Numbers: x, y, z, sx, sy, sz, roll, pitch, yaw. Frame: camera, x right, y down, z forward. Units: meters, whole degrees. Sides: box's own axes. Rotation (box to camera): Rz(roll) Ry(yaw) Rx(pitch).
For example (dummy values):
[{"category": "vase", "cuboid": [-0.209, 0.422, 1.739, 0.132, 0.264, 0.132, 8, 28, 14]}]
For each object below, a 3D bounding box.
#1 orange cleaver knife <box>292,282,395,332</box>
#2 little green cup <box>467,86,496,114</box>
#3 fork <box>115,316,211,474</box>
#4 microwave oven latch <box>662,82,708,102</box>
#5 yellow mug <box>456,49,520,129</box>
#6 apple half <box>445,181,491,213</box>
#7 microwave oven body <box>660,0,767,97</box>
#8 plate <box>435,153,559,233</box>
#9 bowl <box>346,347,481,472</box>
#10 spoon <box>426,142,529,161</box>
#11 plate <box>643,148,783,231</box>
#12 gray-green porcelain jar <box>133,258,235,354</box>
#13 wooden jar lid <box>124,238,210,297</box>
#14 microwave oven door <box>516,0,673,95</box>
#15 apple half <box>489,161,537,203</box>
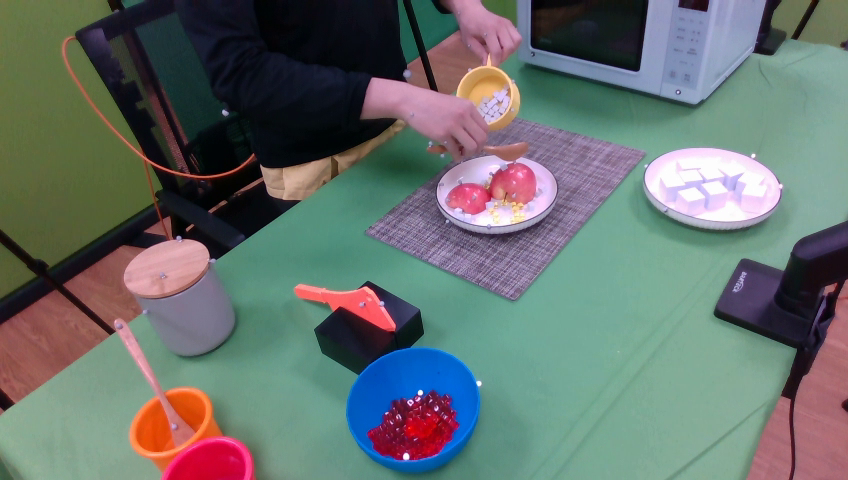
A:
[{"category": "orange cleaver knife", "cuboid": [-0.116, 0.091, 0.835, 0.209, 0.077, 0.012, 2, 32, 48]}, {"category": "little green cup", "cuboid": [0.123, -0.297, 1.285, 0.061, 0.039, 0.061, -6, 41, 6]}, {"category": "fork", "cuboid": [-0.308, 0.179, 0.708, 0.028, 0.018, 0.207, -30, 89, -23]}, {"category": "microwave oven latch", "cuboid": [0.518, -0.298, 1.202, 0.078, 0.029, 0.030, 28, 53, 35]}, {"category": "yellow mug", "cuboid": [0.113, -0.263, 1.044, 0.099, 0.131, 0.064, 7, 4, 17]}, {"category": "apple half", "cuboid": [0.076, -0.083, 1.029, 0.081, 0.033, 0.081, -1, 42, 2]}, {"category": "microwave oven body", "cuboid": [0.474, -0.517, 1.313, 0.438, 0.261, 0.327, 26, 51, 34]}, {"category": "plate", "cuboid": [0.124, -0.078, 1.026, 0.209, 0.038, 0.208, -4, 40, 4]}, {"category": "bowl", "cuboid": [-0.008, 0.205, 0.691, 0.151, 0.077, 0.150, -4, 40, 4]}, {"category": "spoon", "cuboid": [0.084, -0.139, 0.922, 0.195, 0.041, 0.021, 0, 59, -30]}, {"category": "plate", "cuboid": [0.464, -0.080, 0.986, 0.207, 0.039, 0.206, -4, 41, 4]}, {"category": "gray-green porcelain jar", "cuboid": [-0.327, 0.086, 0.836, 0.106, 0.127, 0.105, -4, 41, 4]}, {"category": "wooden jar lid", "cuboid": [-0.335, 0.038, 0.794, 0.108, 0.021, 0.108, -2, 40, 2]}, {"category": "microwave oven door", "cuboid": [0.344, -0.458, 1.257, 0.353, 0.245, 0.039, 26, 51, 33]}, {"category": "apple half", "cuboid": [0.154, -0.106, 1.030, 0.080, 0.053, 0.075, 22, 46, 31]}]
